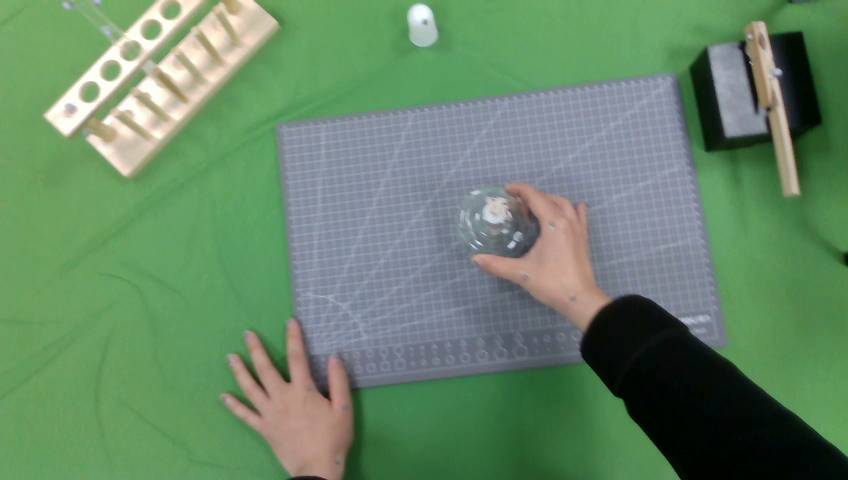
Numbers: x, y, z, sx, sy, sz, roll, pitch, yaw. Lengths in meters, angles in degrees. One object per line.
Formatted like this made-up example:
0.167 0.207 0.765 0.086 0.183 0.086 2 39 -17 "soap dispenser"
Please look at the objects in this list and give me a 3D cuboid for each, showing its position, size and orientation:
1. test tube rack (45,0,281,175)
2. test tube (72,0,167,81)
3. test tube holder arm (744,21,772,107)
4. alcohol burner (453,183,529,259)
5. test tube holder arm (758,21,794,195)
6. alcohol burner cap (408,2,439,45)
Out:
-0.272 -0.188 0.650 0.066 0.085 0.242 42 86 7 "test tube rack"
-0.297 -0.199 0.602 0.017 0.151 0.017 -1 77 5 "test tube"
0.339 -0.177 0.612 0.010 0.015 0.087 -6 83 -13 "test tube holder arm"
0.067 -0.022 0.600 0.078 0.119 0.077 -1 80 4 "alcohol burner"
0.349 -0.133 0.608 0.013 0.015 0.178 -5 83 -13 "test tube holder arm"
-0.001 -0.243 0.670 0.034 0.048 0.033 -1 78 6 "alcohol burner cap"
